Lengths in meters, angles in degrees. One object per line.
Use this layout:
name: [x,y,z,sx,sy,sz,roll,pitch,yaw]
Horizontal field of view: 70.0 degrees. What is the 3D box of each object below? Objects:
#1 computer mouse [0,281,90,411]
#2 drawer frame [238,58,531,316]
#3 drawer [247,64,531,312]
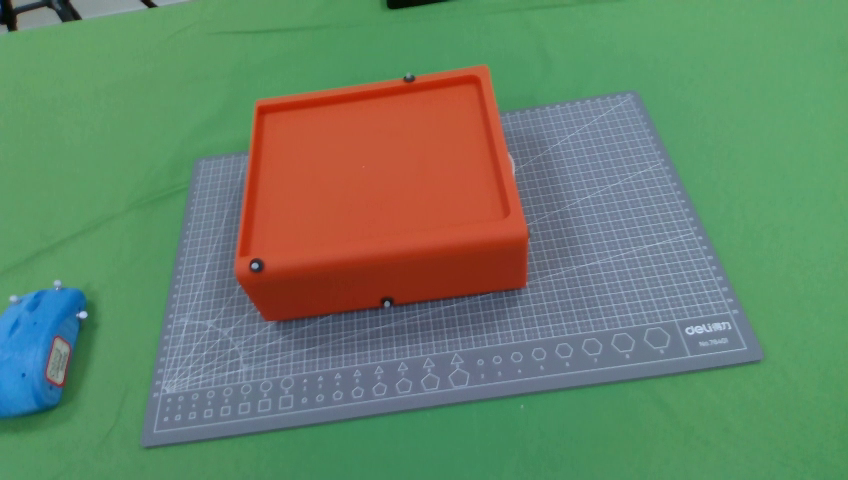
computer mouse: [-0.316,0.080,0.486,0.063,0.041,0.116,-9,48,3]
drawer frame: [-0.030,-0.048,0.508,0.213,0.083,0.199,-9,53,3]
drawer: [-0.028,-0.048,0.509,0.212,0.074,0.192,-8,53,3]
